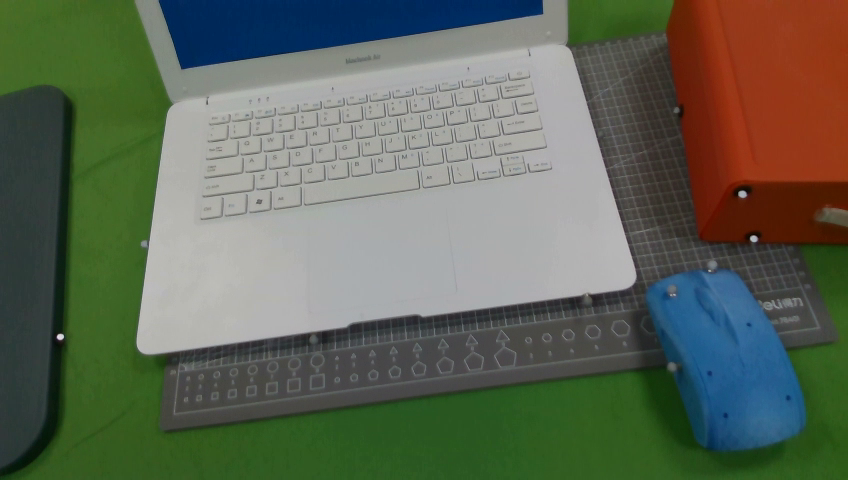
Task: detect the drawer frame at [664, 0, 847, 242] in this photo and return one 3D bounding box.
[{"bbox_3d":[0.292,-0.107,0.434,0.201,0.083,0.211,0,60,6],"label":"drawer frame"}]

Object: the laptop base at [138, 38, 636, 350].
[{"bbox_3d":[-0.039,-0.045,0.477,0.354,0.023,0.233,-8,63,2],"label":"laptop base"}]

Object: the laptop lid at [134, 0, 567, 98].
[{"bbox_3d":[-0.067,-0.245,0.475,0.357,0.244,0.013,-9,30,3],"label":"laptop lid"}]

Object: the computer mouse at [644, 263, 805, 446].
[{"bbox_3d":[0.183,0.066,0.374,0.063,0.041,0.116,-11,59,3],"label":"computer mouse"}]

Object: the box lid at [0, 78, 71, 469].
[{"bbox_3d":[-0.418,0.029,0.485,0.263,0.015,0.367,-16,60,-2],"label":"box lid"}]

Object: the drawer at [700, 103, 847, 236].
[{"bbox_3d":[0.292,-0.105,0.434,0.194,0.074,0.210,1,60,6],"label":"drawer"}]
